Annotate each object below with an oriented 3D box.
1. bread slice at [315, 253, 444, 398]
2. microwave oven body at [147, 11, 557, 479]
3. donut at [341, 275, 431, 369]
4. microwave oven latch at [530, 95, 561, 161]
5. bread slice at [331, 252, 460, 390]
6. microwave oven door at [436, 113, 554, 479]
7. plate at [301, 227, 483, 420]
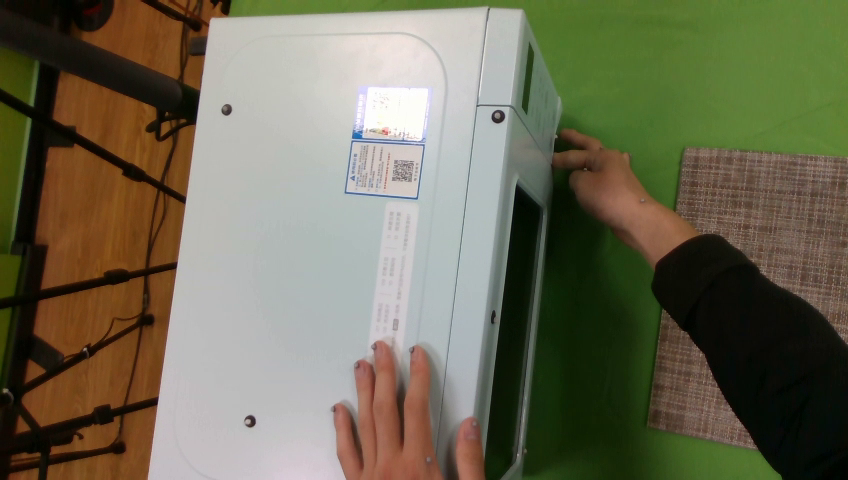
[{"bbox_3d":[-0.056,0.081,0.616,0.105,0.019,0.131,-37,76,16],"label":"bread slice"},{"bbox_3d":[-0.059,0.032,0.627,0.324,0.261,0.441,6,87,20],"label":"microwave oven body"},{"bbox_3d":[-0.041,0.086,0.639,0.099,0.048,0.099,-2,84,14],"label":"donut"},{"bbox_3d":[0.131,-0.122,0.677,0.030,0.029,0.079,17,91,20],"label":"microwave oven latch"},{"bbox_3d":[-0.041,0.081,0.661,0.107,0.018,0.133,-43,69,4],"label":"bread slice"},{"bbox_3d":[0.071,0.087,0.570,0.039,0.245,0.355,6,86,21],"label":"microwave oven door"},{"bbox_3d":[-0.034,0.090,0.666,0.207,0.039,0.207,-2,85,17],"label":"plate"}]
